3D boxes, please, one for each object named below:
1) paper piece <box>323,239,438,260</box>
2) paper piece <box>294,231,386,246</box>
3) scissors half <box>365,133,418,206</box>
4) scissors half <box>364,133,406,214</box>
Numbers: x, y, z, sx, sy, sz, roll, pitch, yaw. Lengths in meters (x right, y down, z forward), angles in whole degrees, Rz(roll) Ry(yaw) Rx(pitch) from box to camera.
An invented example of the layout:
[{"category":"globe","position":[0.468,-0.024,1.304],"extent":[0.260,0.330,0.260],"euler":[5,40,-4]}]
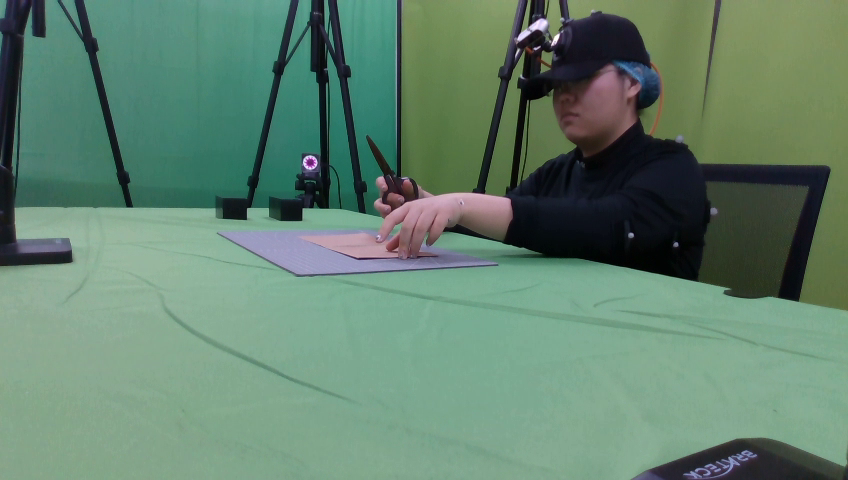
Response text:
[{"category":"paper piece","position":[-0.069,0.015,0.932],"extent":[0.137,0.008,0.137],"euler":[-6,12,-30]},{"category":"paper piece","position":[-0.138,-0.002,1.045],"extent":[0.136,0.004,0.134],"euler":[-3,10,-30]},{"category":"scissors half","position":[-0.059,-0.129,1.102],"extent":[0.176,0.040,0.013],"euler":[52,-8,-37]},{"category":"scissors half","position":[-0.075,-0.118,1.099],"extent":[0.040,0.175,0.012],"euler":[-28,34,-11]}]
